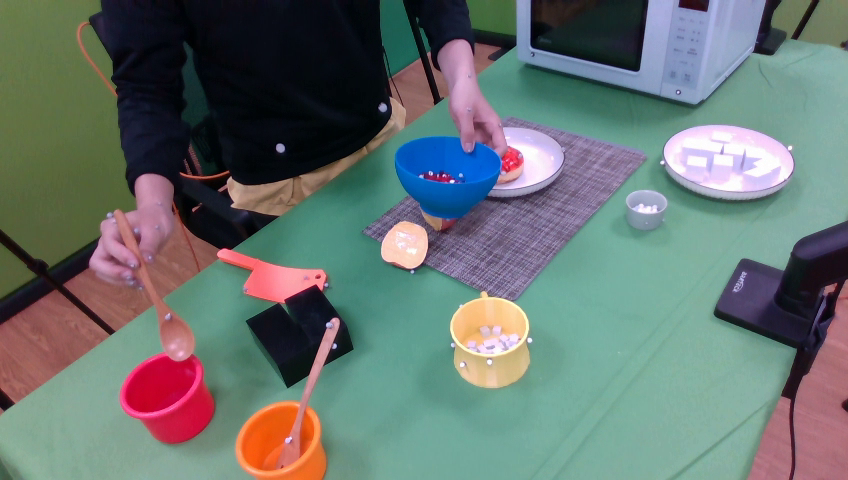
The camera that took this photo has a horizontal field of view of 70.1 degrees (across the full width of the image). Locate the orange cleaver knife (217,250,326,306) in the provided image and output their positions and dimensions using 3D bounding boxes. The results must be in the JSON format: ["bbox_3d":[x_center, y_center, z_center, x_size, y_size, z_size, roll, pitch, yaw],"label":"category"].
[{"bbox_3d":[-0.248,0.059,0.946,0.210,0.012,0.077,13,49,20],"label":"orange cleaver knife"}]

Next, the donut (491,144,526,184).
[{"bbox_3d":[0.134,-0.138,1.083,0.099,0.048,0.098,-6,38,5],"label":"donut"}]

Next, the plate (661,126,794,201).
[{"bbox_3d":[0.513,-0.128,1.036,0.207,0.039,0.206,-4,40,4],"label":"plate"}]

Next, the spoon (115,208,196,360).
[{"bbox_3d":[-0.319,0.053,0.714,0.041,0.194,0.021,-17,15,7],"label":"spoon"}]

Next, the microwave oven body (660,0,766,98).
[{"bbox_3d":[0.473,-0.514,1.317,0.438,0.261,0.327,26,51,34],"label":"microwave oven body"}]

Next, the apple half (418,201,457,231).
[{"bbox_3d":[0.030,-0.059,0.995,0.053,0.075,0.080,-23,39,-23],"label":"apple half"}]

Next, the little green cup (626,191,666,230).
[{"bbox_3d":[0.352,-0.046,0.963,0.061,0.039,0.061,-4,40,4],"label":"little green cup"}]

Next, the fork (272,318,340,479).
[{"bbox_3d":[-0.131,0.186,0.676,0.028,0.019,0.207,17,90,28],"label":"fork"}]

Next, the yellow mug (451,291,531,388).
[{"bbox_3d":[0.085,0.120,0.786,0.100,0.064,0.130,-7,39,1],"label":"yellow mug"}]

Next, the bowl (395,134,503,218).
[{"bbox_3d":[0.032,-0.083,0.852,0.151,0.077,0.150,3,33,-1],"label":"bowl"}]

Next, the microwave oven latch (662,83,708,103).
[{"bbox_3d":[0.518,-0.296,1.204,0.078,0.029,0.030,27,52,35],"label":"microwave oven latch"}]

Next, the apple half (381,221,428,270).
[{"bbox_3d":[-0.024,0.012,0.946,0.081,0.033,0.081,-5,73,16],"label":"apple half"}]

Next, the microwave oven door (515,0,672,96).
[{"bbox_3d":[0.344,-0.455,1.259,0.353,0.245,0.039,26,51,33],"label":"microwave oven door"}]

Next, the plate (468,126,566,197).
[{"bbox_3d":[0.150,-0.138,1.097,0.209,0.038,0.208,-4,40,4],"label":"plate"}]
